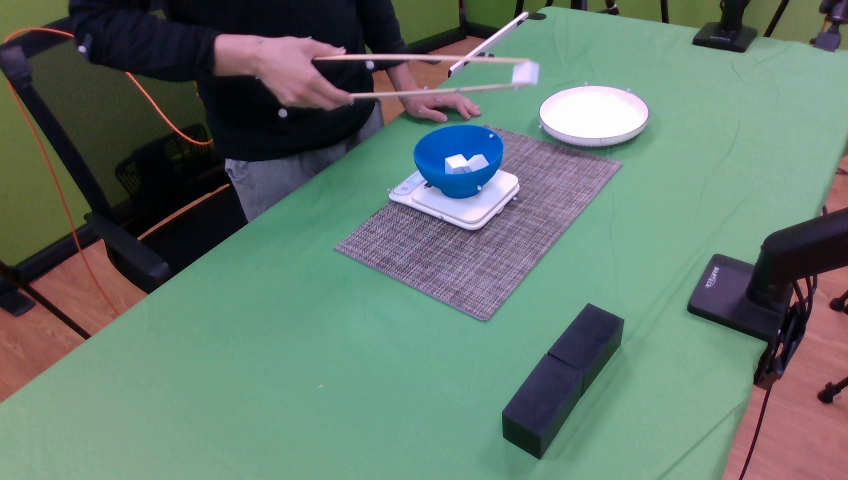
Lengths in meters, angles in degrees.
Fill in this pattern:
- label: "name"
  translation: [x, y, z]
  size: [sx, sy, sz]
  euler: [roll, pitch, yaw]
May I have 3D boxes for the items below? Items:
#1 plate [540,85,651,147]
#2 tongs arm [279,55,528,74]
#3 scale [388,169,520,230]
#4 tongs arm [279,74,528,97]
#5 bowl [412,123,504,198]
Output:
- label: "plate"
  translation: [0.333, -0.238, 1.185]
  size: [0.207, 0.039, 0.206]
  euler: [-4, 41, 4]
- label: "tongs arm"
  translation: [-0.027, -0.273, 0.942]
  size: [0.389, 0.028, 0.027]
  euler: [-3, 19, -8]
- label: "scale"
  translation: [0.050, -0.090, 1.051]
  size: [0.199, 0.032, 0.149]
  euler: [24, 49, 31]
- label: "tongs arm"
  translation: [-0.027, -0.250, 0.948]
  size: [0.386, 0.051, 0.026]
  euler: [-7, 16, -7]
- label: "bowl"
  translation: [0.059, -0.123, 1.007]
  size: [0.151, 0.077, 0.150]
  euler: [-5, 41, 5]
